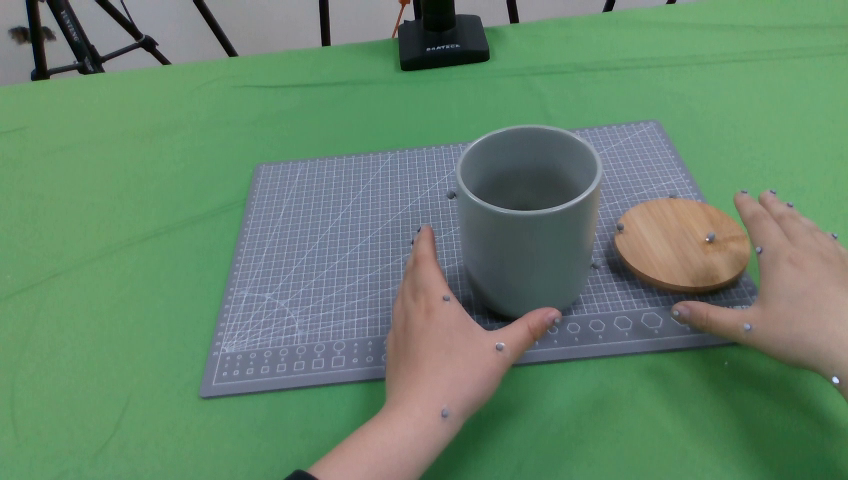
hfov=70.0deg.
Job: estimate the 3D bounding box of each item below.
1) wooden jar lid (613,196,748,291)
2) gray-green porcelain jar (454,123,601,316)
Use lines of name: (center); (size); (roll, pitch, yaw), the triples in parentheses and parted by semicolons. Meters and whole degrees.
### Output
wooden jar lid: (0.218, 0.004, 0.521); (0.108, 0.021, 0.107); (-4, 44, 4)
gray-green porcelain jar: (0.080, -0.010, 0.477); (0.106, 0.128, 0.105); (-4, 45, 4)
